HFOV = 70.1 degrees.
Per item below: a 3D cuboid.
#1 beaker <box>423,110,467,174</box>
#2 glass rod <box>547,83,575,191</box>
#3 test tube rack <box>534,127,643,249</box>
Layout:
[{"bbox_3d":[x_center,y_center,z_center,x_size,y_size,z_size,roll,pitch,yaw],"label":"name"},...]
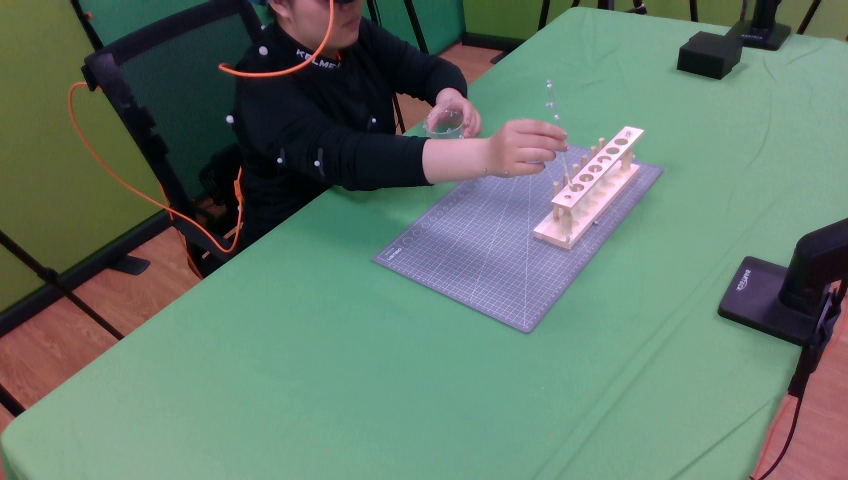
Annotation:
[{"bbox_3d":[0.043,-0.181,1.121,0.073,0.101,0.084,10,48,19],"label":"beaker"},{"bbox_3d":[0.199,-0.134,0.868,0.008,0.201,0.008,-15,36,11],"label":"glass rod"},{"bbox_3d":[0.272,-0.094,0.989,0.066,0.085,0.243,23,50,34],"label":"test tube rack"}]
